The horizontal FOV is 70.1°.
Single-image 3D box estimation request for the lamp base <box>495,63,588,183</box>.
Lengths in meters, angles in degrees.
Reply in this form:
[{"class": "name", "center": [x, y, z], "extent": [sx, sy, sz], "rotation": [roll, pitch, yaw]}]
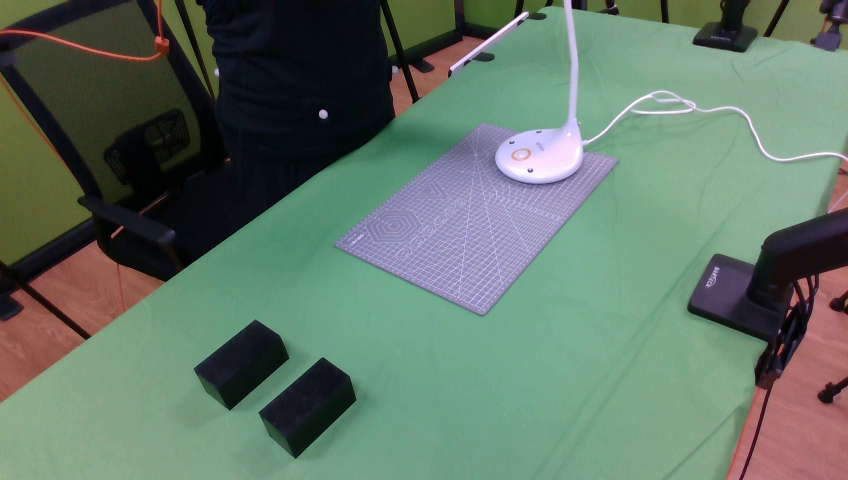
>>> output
[{"class": "lamp base", "center": [0.215, -0.217, 1.067], "extent": [0.180, 0.181, 0.159], "rotation": [-19, 42, -18]}]
